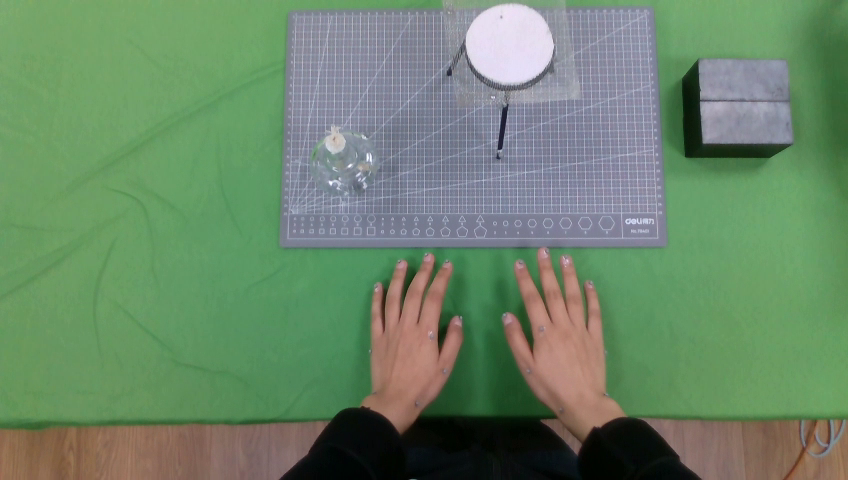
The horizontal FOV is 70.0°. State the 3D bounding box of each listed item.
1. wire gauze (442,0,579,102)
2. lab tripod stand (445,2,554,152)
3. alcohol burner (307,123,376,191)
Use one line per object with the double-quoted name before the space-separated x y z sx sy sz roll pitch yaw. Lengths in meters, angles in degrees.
"wire gauze" 0.084 -0.196 0.597 0.125 0.011 0.121 -6 81 0
"lab tripod stand" 0.088 -0.188 0.663 0.148 0.132 0.147 0 79 1
"alcohol burner" -0.093 -0.097 0.664 0.078 0.119 0.077 0 79 1
